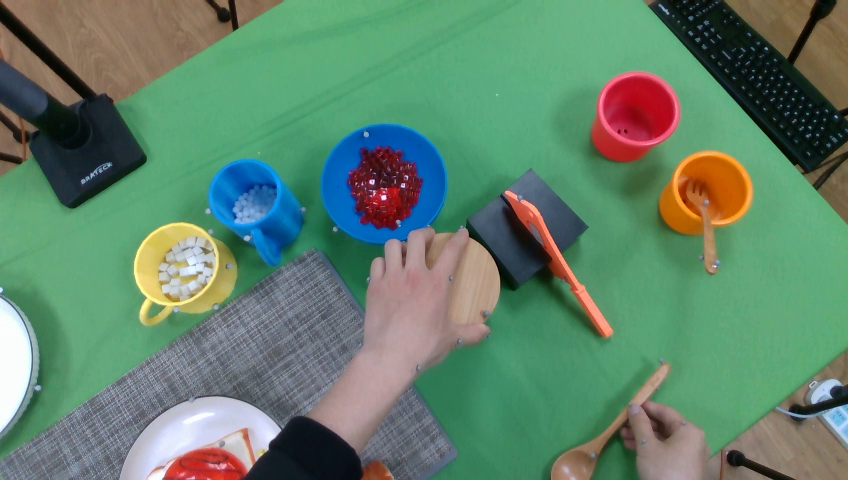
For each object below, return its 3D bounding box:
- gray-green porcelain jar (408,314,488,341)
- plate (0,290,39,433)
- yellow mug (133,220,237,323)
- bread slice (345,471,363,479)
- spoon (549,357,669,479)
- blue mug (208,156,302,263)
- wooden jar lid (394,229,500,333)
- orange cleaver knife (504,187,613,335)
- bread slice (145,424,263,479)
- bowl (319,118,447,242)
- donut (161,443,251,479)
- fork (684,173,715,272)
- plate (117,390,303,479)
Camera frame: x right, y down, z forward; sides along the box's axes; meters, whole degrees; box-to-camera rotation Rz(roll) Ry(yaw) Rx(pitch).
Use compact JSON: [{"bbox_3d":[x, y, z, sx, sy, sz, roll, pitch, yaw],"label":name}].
[{"bbox_3d":[0.026,0.058,0.686,0.106,0.127,0.105,0,76,1],"label":"gray-green porcelain jar"},{"bbox_3d":[-0.560,0.153,0.725,0.208,0.039,0.206,0,77,1],"label":"plate"},{"bbox_3d":[-0.294,0.045,0.729,0.099,0.064,0.130,32,81,9],"label":"yellow mug"},{"bbox_3d":[-0.054,0.292,0.628,0.018,0.135,0.106,-27,75,-13],"label":"bread slice"},{"bbox_3d":[0.215,0.207,0.692,0.193,0.022,0.041,-46,72,-1],"label":"spoon"},{"bbox_3d":[-0.195,-0.028,0.724,0.082,0.106,0.116,-15,76,-2],"label":"blue mug"},{"bbox_3d":[0.023,0.043,0.626,0.108,0.021,0.108,0,77,-1],"label":"wooden jar lid"},{"bbox_3d":[0.157,0.025,0.713,0.012,0.076,0.212,-38,108,-7],"label":"orange cleaver knife"},{"bbox_3d":[-0.248,0.283,0.685,0.131,0.019,0.104,-21,76,-8],"label":"bread slice"},{"bbox_3d":[-0.047,-0.062,0.742,0.151,0.077,0.150,0,77,2],"label":"bowl"},{"bbox_3d":[-0.235,0.271,0.654,0.099,0.048,0.098,1,77,-2],"label":"donut"},{"bbox_3d":[0.314,-0.026,0.686,0.028,0.019,0.206,28,34,1],"label":"fork"},{"bbox_3d":[-0.236,0.276,0.682,0.209,0.038,0.208,0,76,2],"label":"plate"}]
